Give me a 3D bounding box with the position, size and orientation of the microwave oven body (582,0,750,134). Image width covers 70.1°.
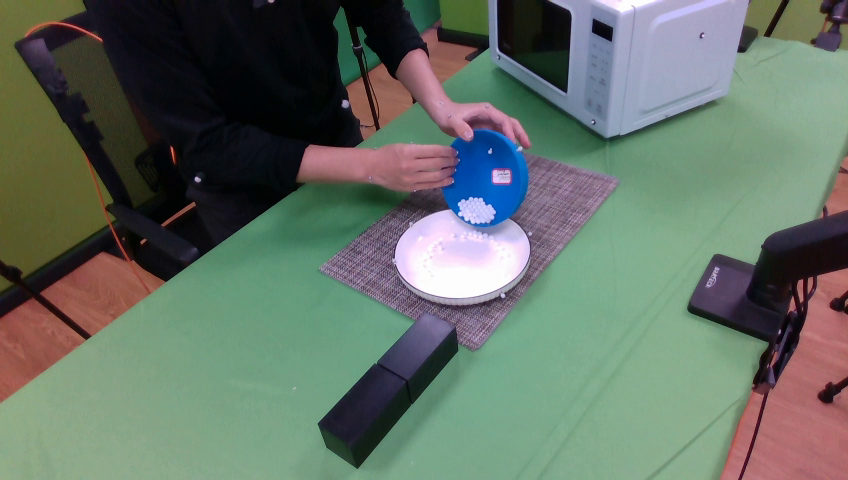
[{"bbox_3d":[0.382,-0.444,1.246,0.327,0.261,0.437,-22,42,-16],"label":"microwave oven body"}]

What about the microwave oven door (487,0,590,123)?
[{"bbox_3d":[0.232,-0.420,1.230,0.039,0.245,0.352,-22,43,-16],"label":"microwave oven door"}]

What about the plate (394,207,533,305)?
[{"bbox_3d":[0.059,0.025,0.915,0.207,0.039,0.206,-4,41,4],"label":"plate"}]

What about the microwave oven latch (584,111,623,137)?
[{"bbox_3d":[0.337,-0.222,1.142,0.030,0.029,0.078,-21,42,-14],"label":"microwave oven latch"}]

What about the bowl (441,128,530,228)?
[{"bbox_3d":[0.108,-0.098,0.940,0.150,0.151,0.077,26,25,33],"label":"bowl"}]
